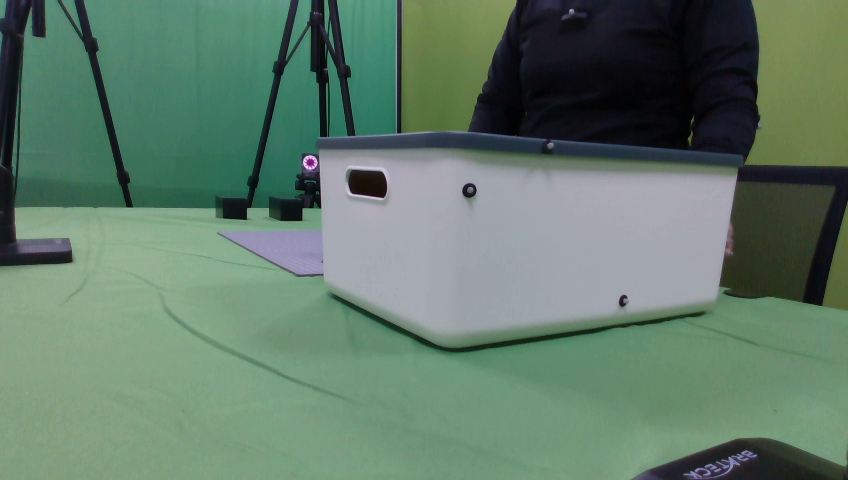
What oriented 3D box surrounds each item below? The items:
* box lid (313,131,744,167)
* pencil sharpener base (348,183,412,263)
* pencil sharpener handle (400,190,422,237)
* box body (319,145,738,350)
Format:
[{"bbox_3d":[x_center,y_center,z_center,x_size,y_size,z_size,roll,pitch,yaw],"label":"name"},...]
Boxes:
[{"bbox_3d":[0.101,-0.085,0.602,0.373,0.015,0.262,-2,8,-32],"label":"box lid"},{"bbox_3d":[-0.059,-0.024,0.846,0.077,0.107,0.061,-1,7,-30],"label":"pencil sharpener base"},{"bbox_3d":[-0.016,-0.038,0.872,0.031,0.067,0.036,-1,16,-30],"label":"pencil sharpener handle"},{"bbox_3d":[0.100,-0.013,0.611,0.366,0.160,0.253,-2,8,-32],"label":"box body"}]
